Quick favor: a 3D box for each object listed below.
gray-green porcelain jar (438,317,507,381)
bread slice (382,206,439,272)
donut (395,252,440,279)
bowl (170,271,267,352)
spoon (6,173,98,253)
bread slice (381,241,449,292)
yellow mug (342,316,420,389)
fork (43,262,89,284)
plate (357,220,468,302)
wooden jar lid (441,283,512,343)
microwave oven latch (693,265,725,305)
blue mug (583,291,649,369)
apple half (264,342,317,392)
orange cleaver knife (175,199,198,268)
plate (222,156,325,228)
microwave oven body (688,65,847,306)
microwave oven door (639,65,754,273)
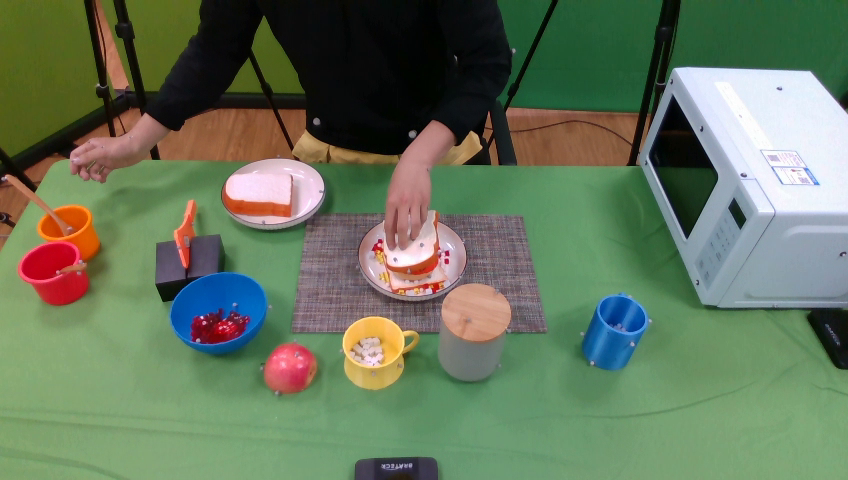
[{"bbox_3d":[0.076,0.158,0.977,0.106,0.127,0.105,2,47,-2],"label":"gray-green porcelain jar"},{"bbox_3d":[-0.023,-0.002,1.071,0.105,0.019,0.130,-13,49,10],"label":"bread slice"},{"bbox_3d":[-0.021,0.030,1.112,0.099,0.048,0.098,4,45,-4],"label":"donut"},{"bbox_3d":[-0.332,0.132,1.006,0.151,0.077,0.150,2,46,-2],"label":"bowl"},{"bbox_3d":[-0.678,-0.050,1.106,0.021,0.194,0.041,-19,27,43],"label":"spoon"},{"bbox_3d":[-0.026,0.039,1.140,0.107,0.018,0.133,-12,47,-17],"label":"bread slice"},{"bbox_3d":[-0.067,0.178,0.990,0.131,0.064,0.099,-16,50,-19],"label":"yellow mug"},{"bbox_3d":[-0.599,0.053,1.013,0.207,0.019,0.028,-14,30,45],"label":"fork"},{"bbox_3d":[-0.021,0.037,1.141,0.208,0.039,0.206,2,46,-2],"label":"plate"},{"bbox_3d":[0.080,0.114,0.931,0.108,0.021,0.107,1,49,-1],"label":"wooden jar lid"},{"bbox_3d":[0.523,0.081,1.115,0.030,0.029,0.078,2,46,-1],"label":"microwave oven latch"},{"bbox_3d":[0.324,0.142,1.023,0.082,0.106,0.116,15,47,11],"label":"blue mug"},{"bbox_3d":[-0.214,0.198,0.970,0.074,0.053,0.080,19,48,11],"label":"apple half"},{"bbox_3d":[-0.438,-0.017,1.138,0.012,0.077,0.210,-14,27,-7],"label":"orange cleaver knife"},{"bbox_3d":[-0.308,-0.095,1.251,0.209,0.038,0.208,3,46,-3],"label":"plate"},{"bbox_3d":[0.669,-0.111,1.176,0.326,0.261,0.439,0,46,-3],"label":"microwave oven body"},{"bbox_3d":[0.522,-0.147,1.192,0.039,0.245,0.353,0,47,-3],"label":"microwave oven door"}]
